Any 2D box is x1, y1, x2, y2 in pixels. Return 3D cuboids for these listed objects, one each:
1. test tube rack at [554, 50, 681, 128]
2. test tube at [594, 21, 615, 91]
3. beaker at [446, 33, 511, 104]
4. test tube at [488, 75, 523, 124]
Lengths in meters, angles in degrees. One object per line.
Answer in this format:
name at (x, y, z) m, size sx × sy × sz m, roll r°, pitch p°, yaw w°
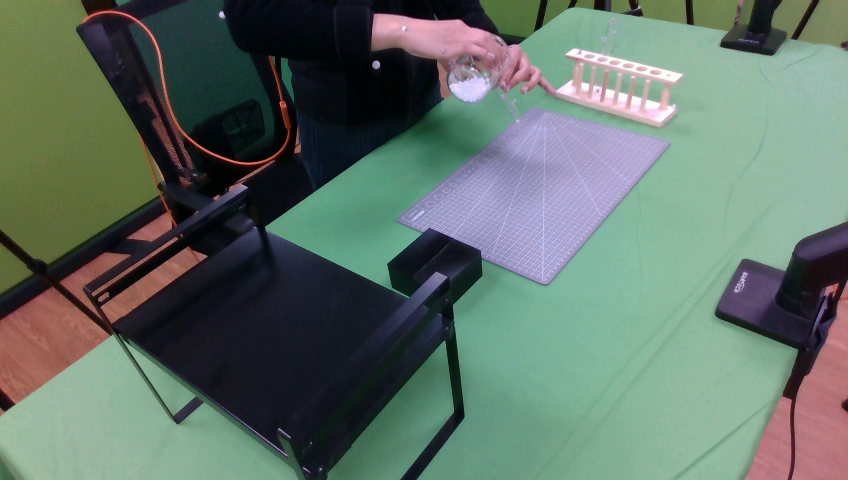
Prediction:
test tube rack at (0.388, -0.311, 1.234) m, size 0.240 × 0.085 × 0.067 m, roll 28°, pitch 51°, yaw 34°
test tube at (0.367, -0.372, 1.232) m, size 0.017 × 0.151 × 0.017 m, roll 0°, pitch 43°, yaw 0°
beaker at (0.085, -0.268, 0.961) m, size 0.073 × 0.084 × 0.100 m, roll 14°, pitch 49°, yaw 26°
test tube at (0.147, -0.247, 1.075) m, size 0.017 × 0.152 × 0.017 m, roll -10°, pitch 67°, yaw 25°
